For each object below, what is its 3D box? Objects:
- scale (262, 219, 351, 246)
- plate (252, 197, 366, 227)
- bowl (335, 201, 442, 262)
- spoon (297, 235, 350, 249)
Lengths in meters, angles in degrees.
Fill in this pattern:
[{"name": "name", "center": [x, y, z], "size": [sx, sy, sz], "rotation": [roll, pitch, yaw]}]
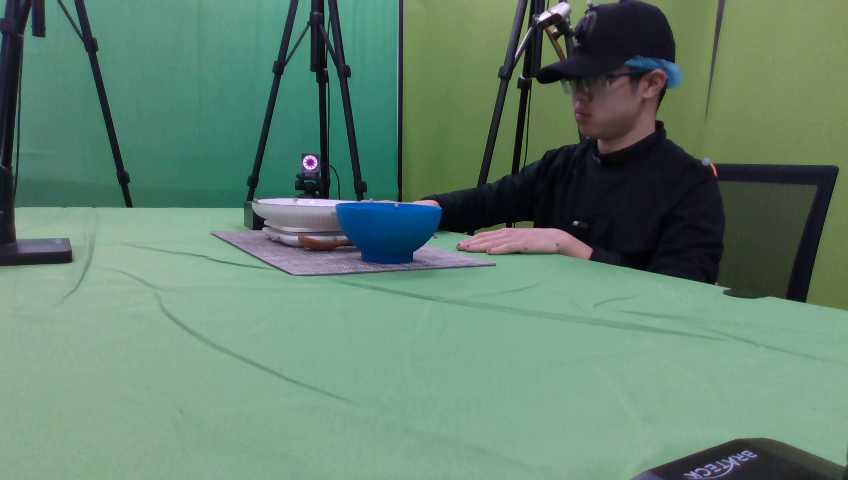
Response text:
[{"name": "scale", "center": [-0.160, -0.015, 1.027], "size": [0.202, 0.031, 0.148], "rotation": [-2, 8, -32]}, {"name": "plate", "center": [-0.179, -0.047, 1.012], "size": [0.209, 0.038, 0.209], "rotation": [2, 6, 0]}, {"name": "bowl", "center": [-0.051, -0.012, 0.848], "size": [0.151, 0.077, 0.151], "rotation": [2, 7, 0]}, {"name": "spoon", "center": [-0.103, 0.002, 0.942], "size": [0.195, 0.021, 0.041], "rotation": [-1, -6, -31]}]
